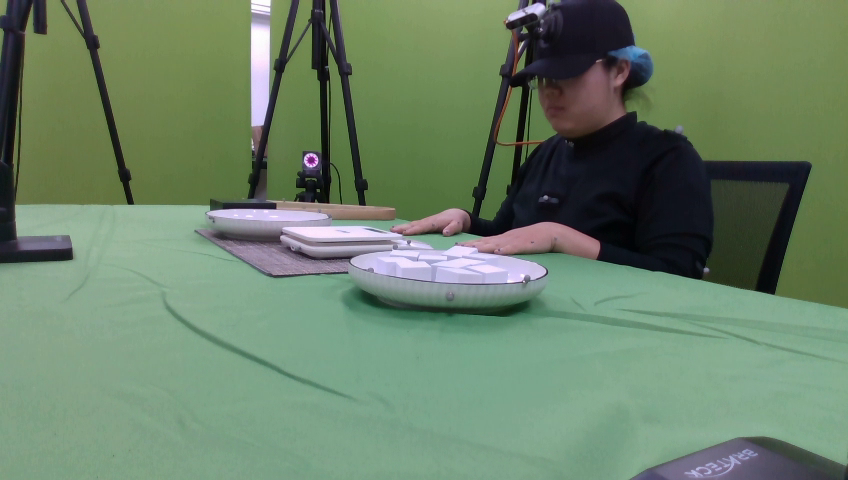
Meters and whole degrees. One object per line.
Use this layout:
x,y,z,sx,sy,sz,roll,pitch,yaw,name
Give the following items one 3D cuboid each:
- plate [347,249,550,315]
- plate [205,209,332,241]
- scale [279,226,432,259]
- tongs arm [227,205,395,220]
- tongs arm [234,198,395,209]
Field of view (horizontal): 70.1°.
0.025,0.042,0.627,0.209,0.038,0.209,2,7,0,plate
-0.262,-0.026,1.030,0.208,0.039,0.207,3,7,0,plate
-0.100,0.001,0.899,0.202,0.031,0.148,-1,9,-31,scale
-0.247,-0.063,1.381,0.389,0.028,0.028,0,5,-21,tongs arm
-0.263,-0.076,1.460,0.386,0.026,0.050,3,7,-8,tongs arm
